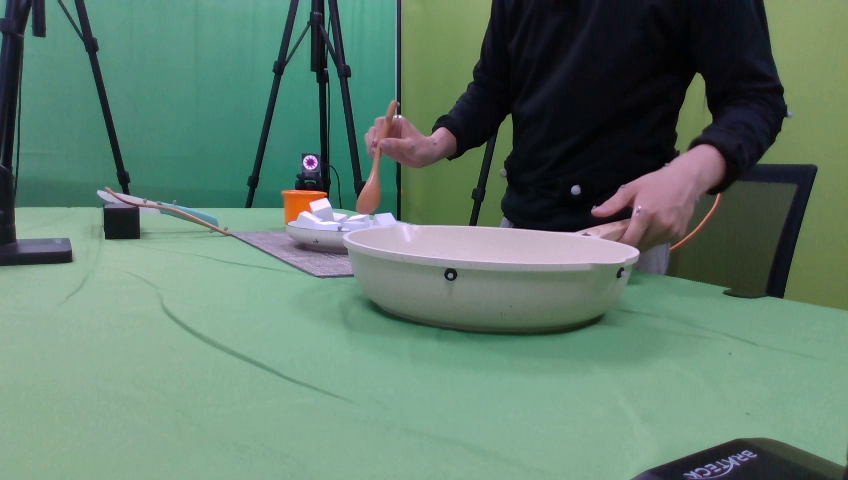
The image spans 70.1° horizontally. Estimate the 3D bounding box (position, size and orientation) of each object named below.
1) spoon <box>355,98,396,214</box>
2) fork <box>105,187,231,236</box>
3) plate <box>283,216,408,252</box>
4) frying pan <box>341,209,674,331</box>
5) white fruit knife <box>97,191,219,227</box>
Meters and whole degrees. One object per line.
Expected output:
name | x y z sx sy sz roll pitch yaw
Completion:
spoon | -0.076 -0.136 0.981 0.042 0.193 0.021 13 -2 -43
fork | -0.428 -0.046 1.021 0.208 0.018 0.028 19 -7 -26
plate | -0.119 -0.010 0.968 0.208 0.039 0.207 3 7 0
frying pan | 0.144 0.008 0.677 0.490 0.102 0.305 -13 16 -36
white fruit knife | -0.468 -0.056 1.079 0.208 0.027 0.016 15 -2 -29
